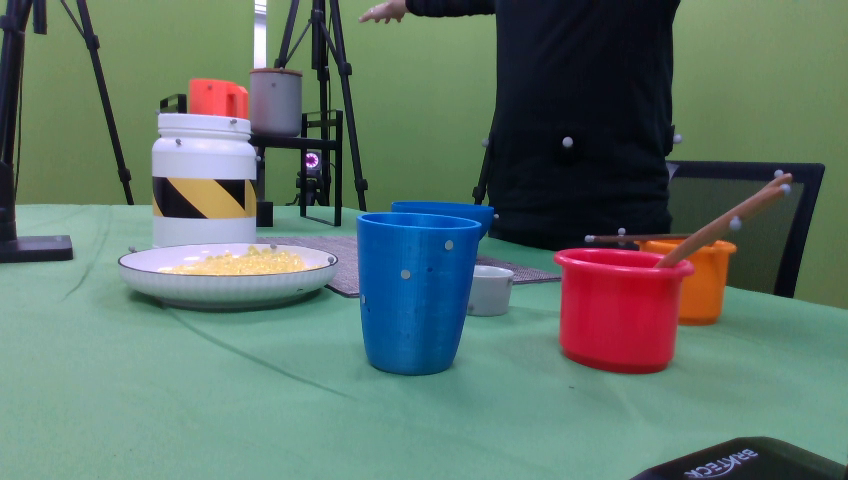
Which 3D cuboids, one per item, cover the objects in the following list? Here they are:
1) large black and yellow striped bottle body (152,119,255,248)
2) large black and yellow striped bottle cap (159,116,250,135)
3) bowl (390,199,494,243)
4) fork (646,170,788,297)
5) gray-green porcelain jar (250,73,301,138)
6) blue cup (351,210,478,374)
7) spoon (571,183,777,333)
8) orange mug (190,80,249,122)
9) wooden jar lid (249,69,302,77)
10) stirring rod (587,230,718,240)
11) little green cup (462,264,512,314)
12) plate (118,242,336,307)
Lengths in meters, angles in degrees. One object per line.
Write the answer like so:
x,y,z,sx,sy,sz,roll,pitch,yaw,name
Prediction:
-0.296,-0.070,0.819,0.131,0.184,0.130,2,7,0,large black and yellow striped bottle body
-0.292,-0.153,0.810,0.115,0.019,0.115,3,9,0,large black and yellow striped bottle cap
0.024,-0.015,0.871,0.151,0.077,0.151,3,7,0,bowl
0.256,0.004,0.543,0.028,0.018,0.207,3,-36,-9,fork
-0.312,-0.280,1.270,0.106,0.126,0.106,3,8,0,gray-green porcelain jar
-0.009,0.034,0.414,0.093,0.100,0.092,4,8,0,blue cup
0.161,0.020,0.413,0.042,0.021,0.193,1,-36,-24,spoon
-0.393,-0.257,1.173,0.126,0.100,0.084,1,6,25,orange mug
-0.309,-0.341,1.262,0.108,0.020,0.108,1,8,0,wooden jar lid
0.226,-0.006,0.588,0.177,0.006,0.014,-2,10,-30,stirring rod
0.053,0.047,0.580,0.061,0.038,0.061,3,8,0,little green cup
-0.194,0.033,0.615,0.209,0.038,0.209,2,7,0,plate
